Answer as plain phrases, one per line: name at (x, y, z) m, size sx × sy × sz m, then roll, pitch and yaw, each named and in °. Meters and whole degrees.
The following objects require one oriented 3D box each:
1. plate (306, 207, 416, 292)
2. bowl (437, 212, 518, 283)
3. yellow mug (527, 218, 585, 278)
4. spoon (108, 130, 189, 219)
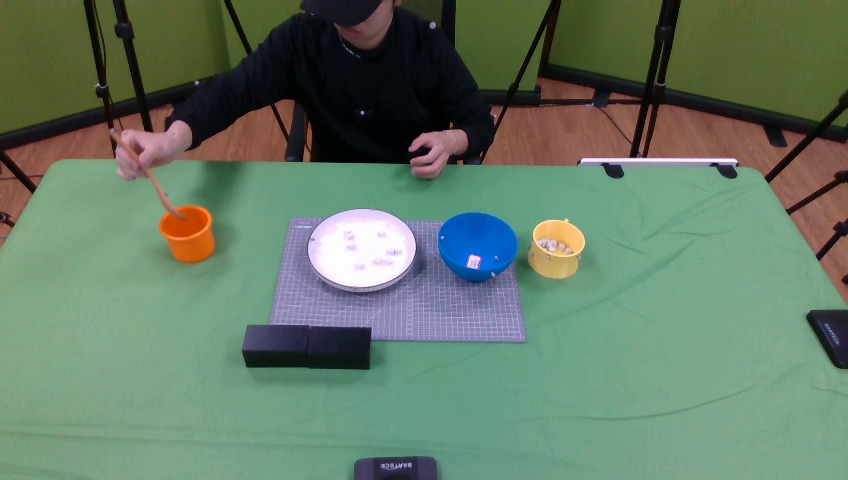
plate at (-0.119, 0.021, 1.153) m, size 0.209 × 0.038 × 0.208 m, roll 2°, pitch 46°, yaw -2°
bowl at (0.096, 0.025, 1.138) m, size 0.151 × 0.077 × 0.150 m, roll 3°, pitch 46°, yaw -2°
yellow mug at (0.260, 0.006, 1.181) m, size 0.100 × 0.064 × 0.130 m, roll 18°, pitch 47°, yaw 13°
spoon at (-0.473, -0.110, 1.046) m, size 0.021 × 0.194 × 0.041 m, roll -39°, pitch 27°, yaw -20°
